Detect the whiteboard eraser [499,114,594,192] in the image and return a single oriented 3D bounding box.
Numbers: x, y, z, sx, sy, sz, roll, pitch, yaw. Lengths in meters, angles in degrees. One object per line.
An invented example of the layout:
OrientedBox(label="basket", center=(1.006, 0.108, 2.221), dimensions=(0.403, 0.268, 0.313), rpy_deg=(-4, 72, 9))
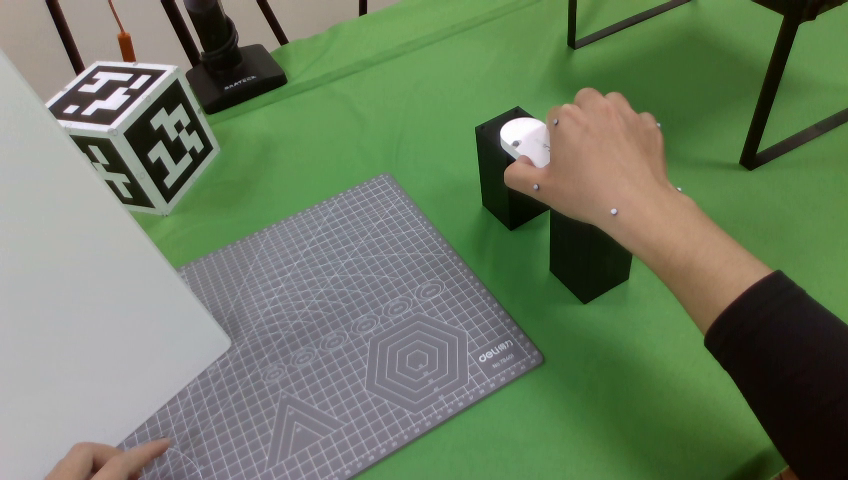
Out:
OrientedBox(label="whiteboard eraser", center=(0.101, -0.076, 0.509), dimensions=(0.041, 0.019, 0.100), rpy_deg=(-27, 49, -16))

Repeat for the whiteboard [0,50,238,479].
OrientedBox(label="whiteboard", center=(-0.341, 0.033, 0.475), dimensions=(0.217, 0.308, 0.142), rpy_deg=(-44, 35, -25))
